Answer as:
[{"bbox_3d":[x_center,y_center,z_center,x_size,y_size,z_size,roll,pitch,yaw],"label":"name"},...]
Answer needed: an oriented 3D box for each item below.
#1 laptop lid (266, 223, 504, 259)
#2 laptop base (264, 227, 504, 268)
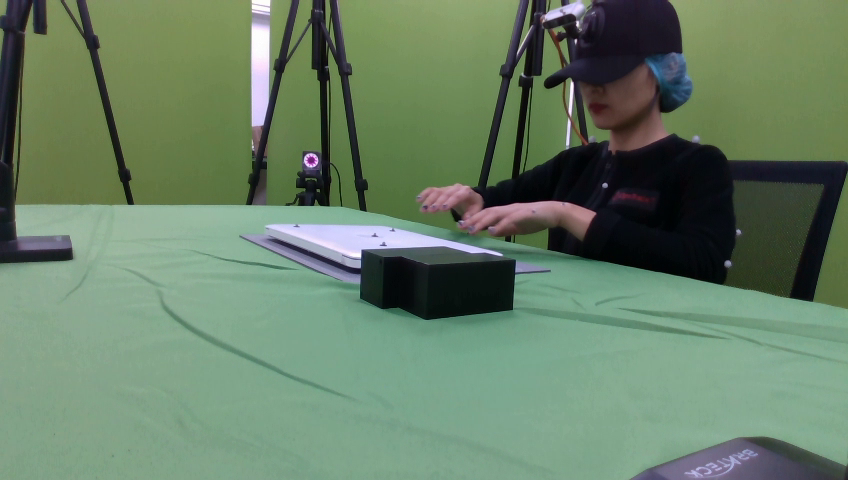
[{"bbox_3d":[-0.074,-0.003,0.914,0.243,0.013,0.355,1,7,-31],"label":"laptop lid"},{"bbox_3d":[-0.077,0.009,0.914,0.237,0.023,0.352,2,6,-33],"label":"laptop base"}]
